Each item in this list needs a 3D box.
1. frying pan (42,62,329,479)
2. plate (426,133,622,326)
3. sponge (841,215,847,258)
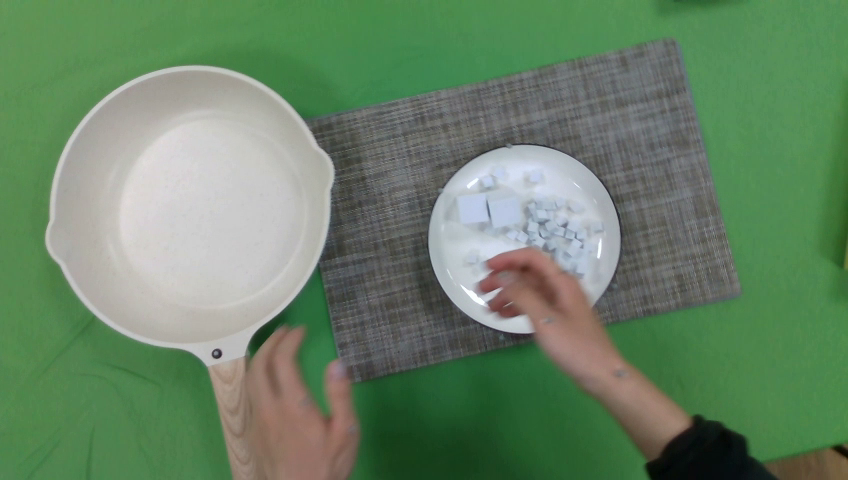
[{"bbox_3d":[-0.219,0.060,0.632,0.307,0.103,0.485,-15,79,2],"label":"frying pan"},{"bbox_3d":[0.107,-0.011,0.660,0.207,0.039,0.207,0,87,1],"label":"plate"},{"bbox_3d":[0.537,-0.071,0.647,0.118,0.061,0.206,10,87,2],"label":"sponge"}]
